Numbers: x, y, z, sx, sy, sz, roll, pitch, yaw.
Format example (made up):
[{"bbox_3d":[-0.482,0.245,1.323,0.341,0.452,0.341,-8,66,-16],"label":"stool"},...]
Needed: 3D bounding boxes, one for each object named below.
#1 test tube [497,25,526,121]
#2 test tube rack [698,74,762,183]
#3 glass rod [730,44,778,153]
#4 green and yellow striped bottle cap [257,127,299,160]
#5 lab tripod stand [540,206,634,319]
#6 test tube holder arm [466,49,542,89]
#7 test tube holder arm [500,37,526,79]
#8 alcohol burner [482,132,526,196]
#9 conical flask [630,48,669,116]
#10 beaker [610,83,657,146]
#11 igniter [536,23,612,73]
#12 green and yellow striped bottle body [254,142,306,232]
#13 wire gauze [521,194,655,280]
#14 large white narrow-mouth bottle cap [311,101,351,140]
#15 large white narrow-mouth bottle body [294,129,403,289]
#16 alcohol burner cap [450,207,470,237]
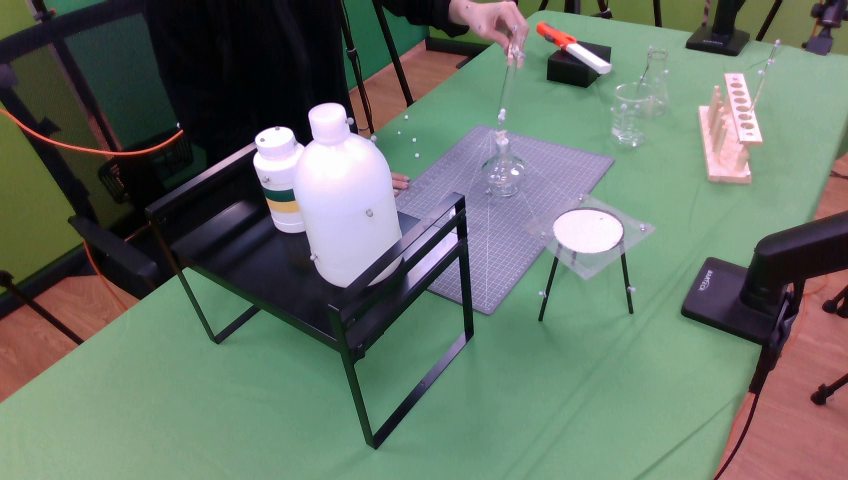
[{"bbox_3d":[0.137,-0.261,0.953,0.017,0.150,0.017,8,29,-4],"label":"test tube"},{"bbox_3d":[0.547,-0.208,1.095,0.066,0.085,0.242,5,42,15],"label":"test tube rack"},{"bbox_3d":[0.555,-0.233,1.020,0.008,0.200,0.008,2,39,-1],"label":"glass rod"},{"bbox_3d":[-0.169,-0.112,0.698,0.045,0.020,0.045,-5,40,5],"label":"green and yellow striped bottle cap"},{"bbox_3d":[0.218,0.034,0.821,0.148,0.132,0.147,-4,42,4],"label":"lab tripod stand"},{"bbox_3d":[0.129,-0.281,1.001,0.177,0.013,0.015,-7,61,54],"label":"test tube holder arm"},{"bbox_3d":[0.143,-0.288,0.964,0.010,0.088,0.015,11,71,34],"label":"test tube holder arm"},{"bbox_3d":[0.137,-0.136,1.042,0.078,0.119,0.077,-4,43,4],"label":"alcohol burner"},{"bbox_3d":[0.457,-0.317,1.205,0.075,0.122,0.075,-4,41,4],"label":"conical flask"},{"bbox_3d":[0.388,-0.235,1.138,0.074,0.101,0.083,-31,46,-26],"label":"beaker"},{"bbox_3d":[0.330,-0.439,1.366,0.057,0.025,0.274,-12,40,-20],"label":"igniter"},{"bbox_3d":[-0.165,-0.073,0.732,0.063,0.120,0.063,-4,41,4],"label":"green and yellow striped bottle body"},{"bbox_3d":[0.207,-0.012,0.772,0.122,0.011,0.124,-28,44,-20],"label":"wire gauze"},{"bbox_3d":[-0.089,-0.115,0.579,0.038,0.024,0.037,-4,39,3],"label":"large white narrow-mouth bottle cap"},{"bbox_3d":[-0.082,-0.047,0.634,0.102,0.195,0.101,-4,39,4],"label":"large white narrow-mouth bottle body"},{"bbox_3d":[0.057,-0.032,0.987,0.034,0.048,0.033,-5,41,5],"label":"alcohol burner cap"}]
